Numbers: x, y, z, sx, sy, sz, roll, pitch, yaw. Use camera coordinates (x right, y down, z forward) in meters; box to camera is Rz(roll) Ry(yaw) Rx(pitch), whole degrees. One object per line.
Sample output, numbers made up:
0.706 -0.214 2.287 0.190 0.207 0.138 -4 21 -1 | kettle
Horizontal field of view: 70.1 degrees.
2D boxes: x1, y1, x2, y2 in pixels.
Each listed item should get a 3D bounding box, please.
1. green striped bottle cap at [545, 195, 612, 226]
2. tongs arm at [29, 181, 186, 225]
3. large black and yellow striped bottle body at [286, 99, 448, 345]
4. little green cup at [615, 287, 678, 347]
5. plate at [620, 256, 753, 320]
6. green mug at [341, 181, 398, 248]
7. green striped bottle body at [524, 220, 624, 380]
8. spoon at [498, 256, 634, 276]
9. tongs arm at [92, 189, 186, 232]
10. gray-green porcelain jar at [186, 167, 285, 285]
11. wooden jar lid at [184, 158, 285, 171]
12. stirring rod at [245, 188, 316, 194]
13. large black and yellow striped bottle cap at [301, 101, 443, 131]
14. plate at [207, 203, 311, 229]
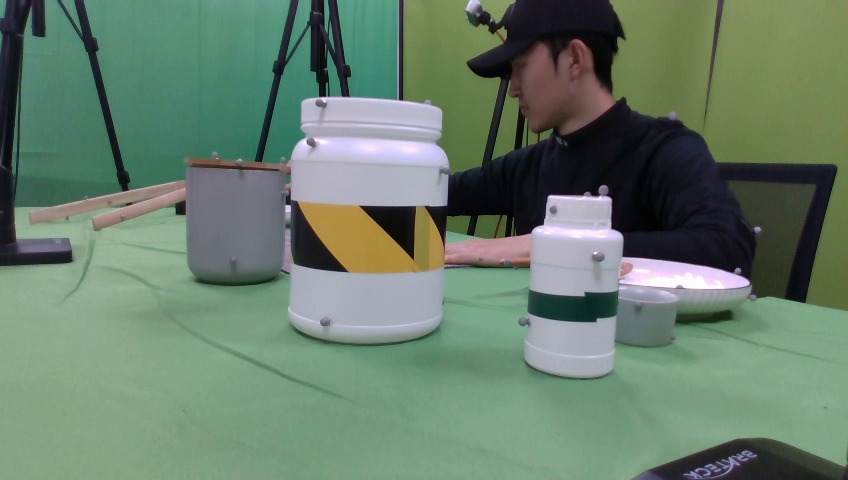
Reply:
0.106 -0.020 0.414 0.044 0.020 0.044 2 4 0 | green striped bottle cap
-0.609 -0.083 1.245 0.050 0.026 0.386 5 16 23 | tongs arm
-0.047 -0.018 0.501 0.131 0.184 0.130 2 7 0 | large black and yellow striped bottle body
0.180 0.064 0.506 0.061 0.038 0.061 1 9 0 | little green cup
0.234 0.049 0.651 0.209 0.038 0.209 2 7 0 | plate
-0.090 -0.044 0.997 0.093 0.105 0.125 1 7 -8 | green mug
0.104 0.031 0.422 0.063 0.119 0.063 2 8 0 | green striped bottle body
0.162 0.027 0.679 0.195 0.021 0.041 8 3 -30 | spoon
-0.534 -0.076 1.221 0.028 0.028 0.388 -2 15 12 | tongs arm
-0.212 -0.017 0.682 0.106 0.126 0.106 2 7 0 | gray-green porcelain jar
-0.210 -0.078 0.674 0.108 0.020 0.108 5 6 0 | wooden jar lid
-0.351 -0.120 1.490 0.177 0.014 0.006 -3 6 -29 | stirring rod
-0.042 -0.100 0.491 0.115 0.019 0.115 1 8 0 | large black and yellow striped bottle cap
-0.342 -0.050 1.259 0.208 0.039 0.207 3 7 0 | plate
